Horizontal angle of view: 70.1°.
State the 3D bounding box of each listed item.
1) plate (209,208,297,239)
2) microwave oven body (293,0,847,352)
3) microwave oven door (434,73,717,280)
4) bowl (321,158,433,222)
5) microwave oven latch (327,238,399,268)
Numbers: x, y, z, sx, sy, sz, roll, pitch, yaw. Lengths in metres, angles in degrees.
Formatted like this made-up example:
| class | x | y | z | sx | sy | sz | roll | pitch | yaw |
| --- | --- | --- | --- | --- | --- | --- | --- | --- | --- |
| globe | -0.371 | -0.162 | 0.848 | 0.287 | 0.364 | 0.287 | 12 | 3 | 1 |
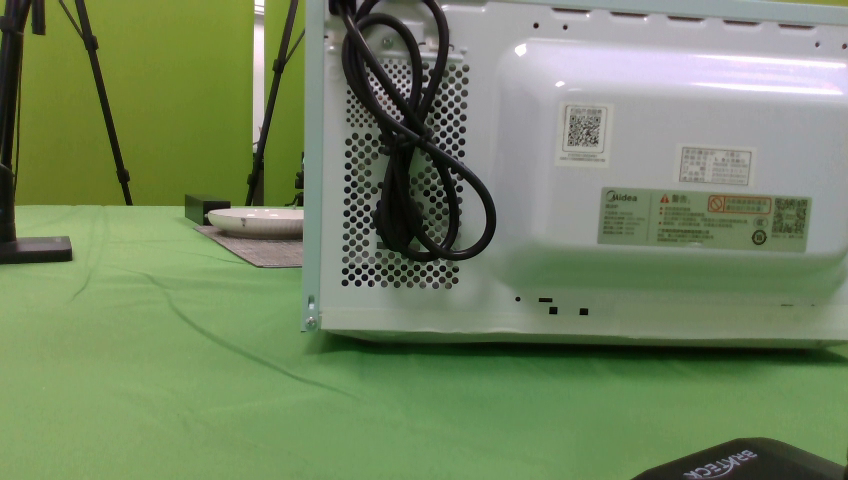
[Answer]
| class | x | y | z | sx | sy | sz | roll | pitch | yaw |
| --- | --- | --- | --- | --- | --- | --- | --- | --- | --- |
| plate | -0.271 | -0.029 | 1.074 | 0.208 | 0.039 | 0.207 | 3 | 7 | 0 |
| microwave oven body | 0.122 | -0.055 | 0.550 | 0.442 | 0.260 | 0.325 | 3 | 7 | -5 |
| microwave oven door | 0.180 | -0.089 | 0.794 | 0.354 | 0.243 | 0.039 | 6 | 7 | 30 |
| bowl | -0.061 | -0.066 | 0.817 | 0.151 | 0.077 | 0.151 | -4 | 6 | 1 |
| microwave oven latch | -0.069 | 0.015 | 0.694 | 0.079 | 0.029 | 0.030 | 3 | 7 | -3 |
